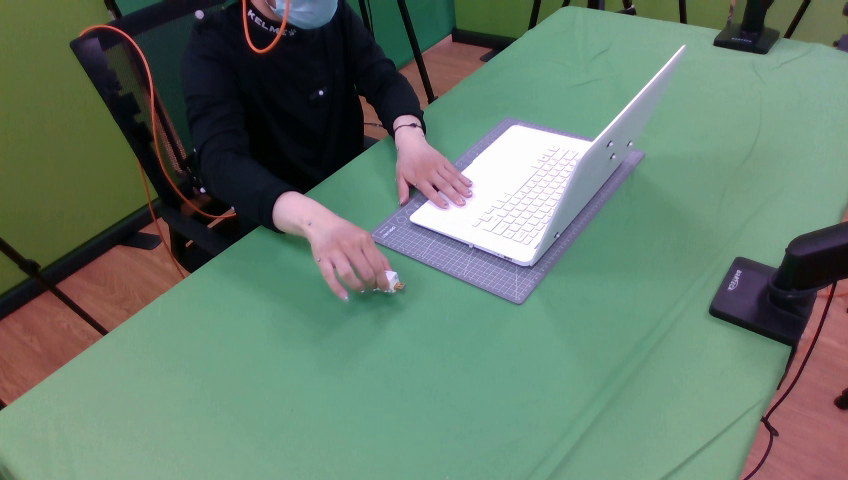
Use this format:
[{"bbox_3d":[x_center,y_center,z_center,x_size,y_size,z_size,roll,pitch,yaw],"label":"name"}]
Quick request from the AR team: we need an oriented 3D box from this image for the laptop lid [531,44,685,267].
[{"bbox_3d":[0.279,-0.128,0.906,0.013,0.242,0.357,34,52,17],"label":"laptop lid"}]

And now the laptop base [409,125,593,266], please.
[{"bbox_3d":[0.168,-0.093,1.055,0.233,0.023,0.355,19,47,33],"label":"laptop base"}]

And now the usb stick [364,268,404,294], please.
[{"bbox_3d":[-0.057,0.061,0.880,0.059,0.027,0.021,13,27,23],"label":"usb stick"}]
